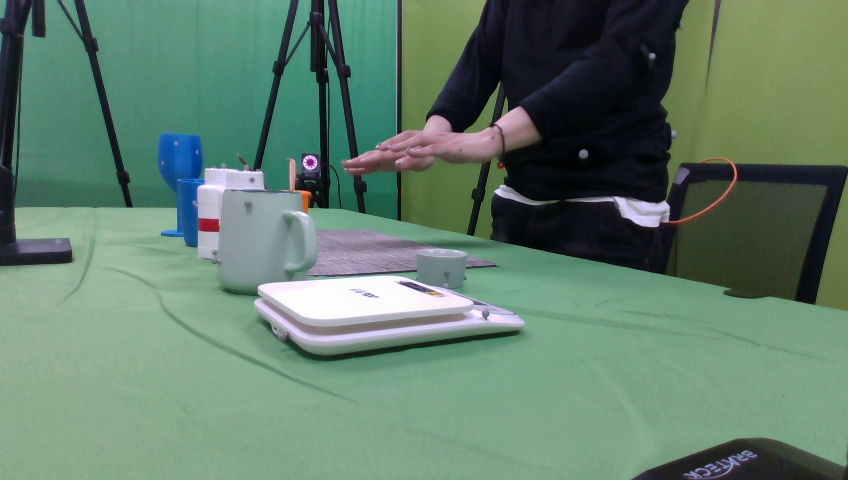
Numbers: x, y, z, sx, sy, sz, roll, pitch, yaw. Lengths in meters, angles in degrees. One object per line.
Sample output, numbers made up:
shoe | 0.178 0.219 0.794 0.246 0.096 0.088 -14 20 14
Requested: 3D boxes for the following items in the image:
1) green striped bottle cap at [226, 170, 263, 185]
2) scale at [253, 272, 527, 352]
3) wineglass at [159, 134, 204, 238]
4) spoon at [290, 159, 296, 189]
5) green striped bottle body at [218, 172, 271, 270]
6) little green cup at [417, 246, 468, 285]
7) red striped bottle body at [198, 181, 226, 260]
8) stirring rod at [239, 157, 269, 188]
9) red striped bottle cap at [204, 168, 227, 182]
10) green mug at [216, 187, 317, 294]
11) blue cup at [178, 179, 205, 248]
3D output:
green striped bottle cap | -0.222 -0.077 0.748 0.044 0.020 0.044 1 7 0
scale | -0.029 0.054 0.512 0.202 0.031 0.148 -2 8 -31
wineglass | -0.415 -0.093 1.040 0.074 0.172 0.073 2 7 0
spoon | -0.273 -0.102 1.252 0.042 0.193 0.021 7 -38 -17
green striped bottle body | -0.223 -0.025 0.755 0.063 0.119 0.063 1 7 0
little green cup | 0.021 0.029 0.701 0.061 0.038 0.061 0 6 0
red striped bottle body | -0.275 -0.035 0.827 0.063 0.119 0.063 1 6 0
stirring rod | -0.309 -0.098 1.209 0.006 0.177 0.014 -39 29 -4
red striped bottle cap | -0.275 -0.088 0.821 0.044 0.017 0.044 3 6 0
green mug | -0.157 0.000 0.629 0.124 0.105 0.093 7 9 37
blue cup | -0.335 -0.041 0.936 0.093 0.100 0.092 3 9 0
